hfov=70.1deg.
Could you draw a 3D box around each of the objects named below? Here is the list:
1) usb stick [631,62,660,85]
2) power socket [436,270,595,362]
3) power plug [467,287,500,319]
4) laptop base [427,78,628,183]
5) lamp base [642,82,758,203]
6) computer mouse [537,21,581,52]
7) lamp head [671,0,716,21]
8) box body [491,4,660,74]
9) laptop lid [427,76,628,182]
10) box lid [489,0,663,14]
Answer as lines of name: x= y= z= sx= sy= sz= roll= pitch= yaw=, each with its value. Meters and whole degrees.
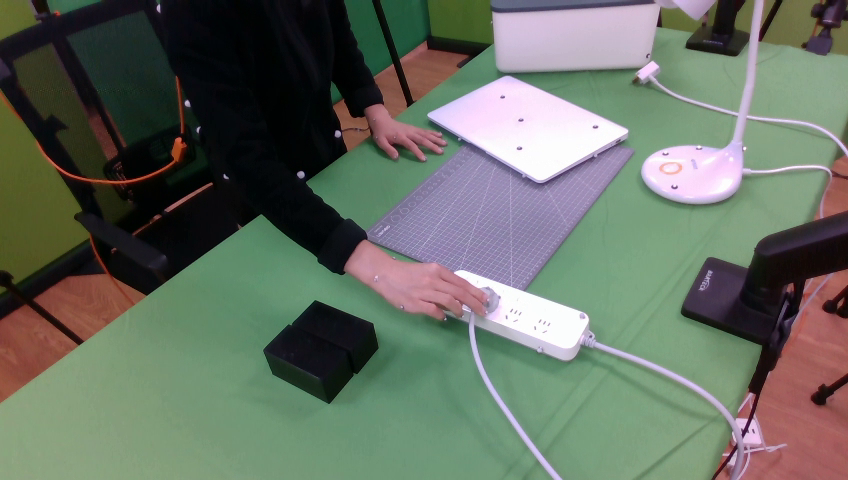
usb stick: x=0.480 y=-0.358 z=1.317 sx=0.059 sy=0.022 sz=0.027 roll=-35 pitch=56 yaw=14
power socket: x=0.118 y=0.101 z=0.832 sx=0.225 sy=0.033 sz=0.072 roll=19 pitch=48 yaw=27
power plug: x=0.072 y=0.092 z=0.813 sx=0.035 sy=0.053 sz=0.073 roll=29 pitch=53 yaw=35
laptop base: x=0.199 y=-0.228 z=1.222 sx=0.236 sy=0.023 sz=0.351 roll=-31 pitch=45 yaw=-22
lamp base: x=0.464 y=-0.174 z=0.992 sx=0.179 sy=0.181 sz=0.159 roll=-5 pitch=41 yaw=-1
computer mouse: x=0.335 y=-0.503 z=1.487 sx=0.118 sy=0.041 sz=0.062 roll=22 pitch=19 yaw=-28
lamp head: x=0.375 y=-0.373 z=0.807 sx=0.122 sy=0.113 sz=0.112 roll=-40 pitch=27 yaw=32
box body: x=0.346 y=-0.520 z=1.429 sx=0.363 sy=0.161 sz=0.253 roll=0 pitch=41 yaw=9
laptop lid: x=0.196 y=-0.237 z=1.213 sx=0.242 sy=0.013 sz=0.353 roll=-29 pitch=44 yaw=-21
box lid: x=0.340 y=-0.575 z=1.380 sx=0.371 sy=0.015 sz=0.262 roll=0 pitch=41 yaw=9
